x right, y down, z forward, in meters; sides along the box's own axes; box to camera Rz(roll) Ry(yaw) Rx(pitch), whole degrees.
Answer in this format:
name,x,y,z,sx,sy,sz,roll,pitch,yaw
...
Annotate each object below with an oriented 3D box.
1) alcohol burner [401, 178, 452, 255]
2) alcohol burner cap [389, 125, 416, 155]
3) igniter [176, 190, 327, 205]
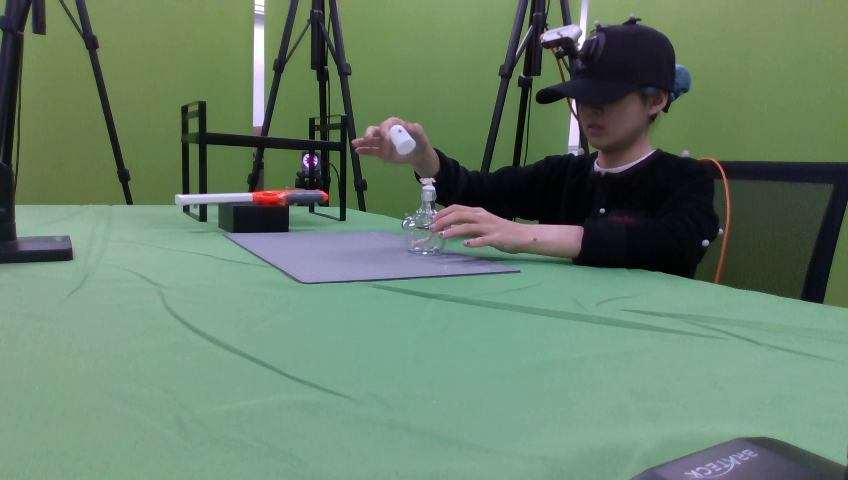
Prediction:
name,x,y,z,sx,sy,sz,roll,pitch,yaw
alcohol burner,0.005,-0.036,0.922,0.078,0.119,0.078,5,7,0
alcohol burner cap,-0.037,-0.158,0.938,0.034,0.034,0.047,-4,49,-41
igniter,-0.316,-0.080,1.137,0.278,0.025,0.057,-4,13,-33
